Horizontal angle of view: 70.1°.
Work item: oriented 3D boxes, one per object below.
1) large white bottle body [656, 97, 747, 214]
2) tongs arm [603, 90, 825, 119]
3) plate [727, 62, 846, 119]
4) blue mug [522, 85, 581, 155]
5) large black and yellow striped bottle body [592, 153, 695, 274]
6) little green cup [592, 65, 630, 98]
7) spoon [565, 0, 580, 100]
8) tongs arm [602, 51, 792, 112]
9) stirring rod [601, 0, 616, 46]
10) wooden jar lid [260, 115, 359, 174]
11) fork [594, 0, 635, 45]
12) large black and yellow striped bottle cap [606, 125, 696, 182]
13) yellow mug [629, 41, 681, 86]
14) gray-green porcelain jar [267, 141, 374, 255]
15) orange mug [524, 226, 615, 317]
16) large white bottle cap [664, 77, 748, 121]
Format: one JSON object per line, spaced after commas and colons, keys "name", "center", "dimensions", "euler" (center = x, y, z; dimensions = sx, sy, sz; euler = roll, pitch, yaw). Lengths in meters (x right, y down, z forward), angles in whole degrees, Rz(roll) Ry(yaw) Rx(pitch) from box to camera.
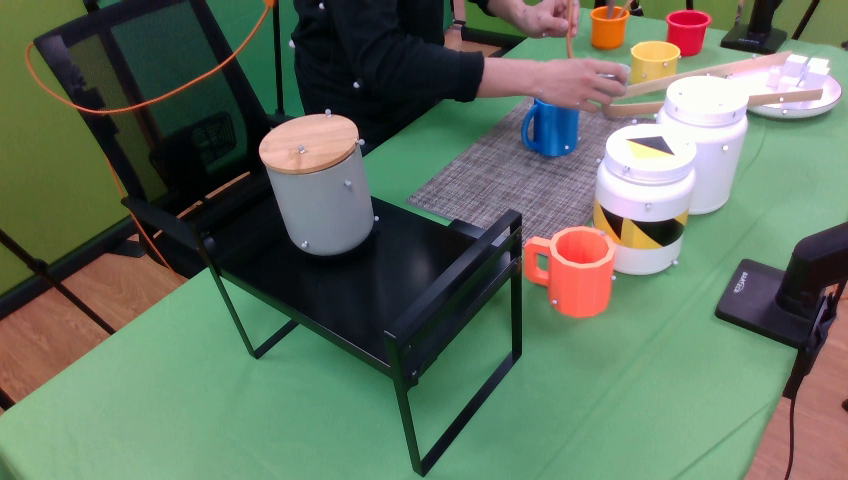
{"name": "large white bottle body", "center": [0.431, -0.148, 0.959], "dimensions": [0.130, 0.185, 0.130], "euler": [-4, 41, 4]}
{"name": "tongs arm", "center": [0.546, -0.262, 1.162], "dimensions": [0.386, 0.028, 0.028], "euler": [-1, 49, 18]}
{"name": "plate", "center": [0.709, -0.292, 1.197], "dimensions": [0.207, 0.039, 0.206], "euler": [-4, 40, 4]}
{"name": "blue mug", "center": [0.234, -0.219, 1.127], "dimensions": [0.117, 0.106, 0.081], "euler": [-21, 42, -15]}
{"name": "large black and yellow striped bottle body", "center": [0.313, -0.056, 0.872], "dimensions": [0.131, 0.185, 0.130], "euler": [-4, 41, 4]}
{"name": "little green cup", "center": [0.312, -0.265, 1.011], "dimensions": [0.061, 0.039, 0.061], "euler": [-6, 32, 4]}
{"name": "spoon", "center": [0.262, -0.349, 1.078], "dimensions": [0.022, 0.194, 0.041], "euler": [-12, 16, -15]}
{"name": "tongs arm", "center": [0.552, -0.319, 1.223], "dimensions": [0.384, 0.027, 0.050], "euler": [-10, 43, 7]}
{"name": "stirring rod", "center": [0.452, -0.554, 1.464], "dimensions": [0.014, 0.006, 0.176], "euler": [11, 86, 15]}
{"name": "wooden jar lid", "center": [-0.124, -0.101, 0.662], "dimensions": [0.108, 0.021, 0.108], "euler": [-4, 41, 4]}
{"name": "fork", "center": [0.484, -0.552, 1.447], "dimensions": [0.207, 0.019, 0.028], "euler": [-51, 47, 17]}
{"name": "large black and yellow striped bottle cap", "center": [0.305, -0.119, 0.816], "dimensions": [0.115, 0.019, 0.114], "euler": [-5, 41, 5]}
{"name": "yellow mug", "center": [0.495, -0.389, 1.321], "dimensions": [0.100, 0.064, 0.130], "euler": [-14, 40, -6]}
{"name": "gray-green porcelain jar", "center": [-0.117, -0.054, 0.703], "dimensions": [0.106, 0.127, 0.105], "euler": [-4, 40, 4]}
{"name": "orange mug", "center": [0.201, 0.039, 0.845], "dimensions": [0.125, 0.101, 0.083], "euler": [18, 46, 21]}
{"name": "large white bottle cap", "center": [0.421, -0.212, 0.905], "dimensions": [0.115, 0.018, 0.114], "euler": [-4, 40, 4]}
